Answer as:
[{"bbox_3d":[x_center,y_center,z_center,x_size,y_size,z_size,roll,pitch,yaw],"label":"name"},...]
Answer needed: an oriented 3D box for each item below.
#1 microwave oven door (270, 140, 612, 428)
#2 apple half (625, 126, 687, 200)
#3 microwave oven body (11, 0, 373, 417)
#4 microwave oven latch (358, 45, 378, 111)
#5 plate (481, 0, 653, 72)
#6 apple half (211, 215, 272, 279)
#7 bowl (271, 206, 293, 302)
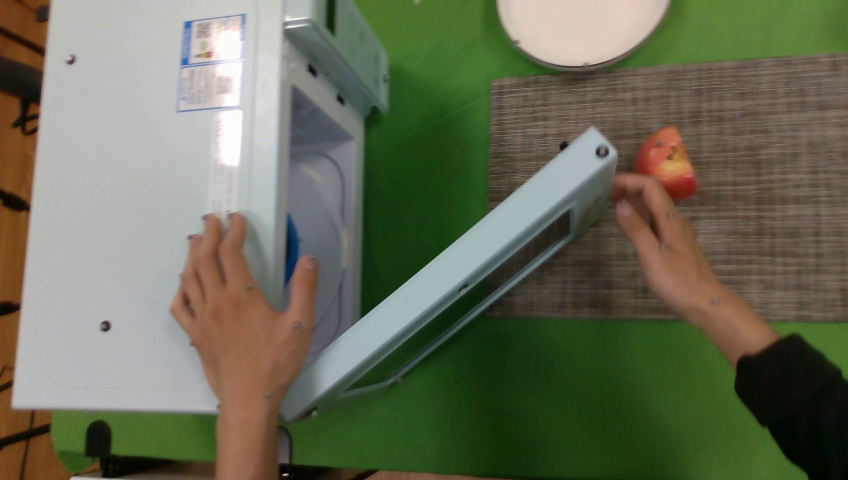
[{"bbox_3d":[0.035,0.054,0.611,0.356,0.245,0.039,-40,74,5],"label":"microwave oven door"},{"bbox_3d":[0.254,-0.080,0.678,0.053,0.075,0.080,-22,81,14],"label":"apple half"},{"bbox_3d":[-0.239,-0.039,0.695,0.325,0.261,0.440,-3,82,13],"label":"microwave oven body"},{"bbox_3d":[-0.076,-0.208,0.779,0.030,0.029,0.079,2,83,13],"label":"microwave oven latch"},{"bbox_3d":[0.176,-0.303,0.750,0.207,0.039,0.207,-2,82,13],"label":"plate"},{"bbox_3d":[-0.219,0.011,0.712,0.081,0.033,0.081,1,97,10],"label":"apple half"},{"bbox_3d":[-0.211,0.015,0.723,0.151,0.077,0.151,1,92,19],"label":"bowl"}]
